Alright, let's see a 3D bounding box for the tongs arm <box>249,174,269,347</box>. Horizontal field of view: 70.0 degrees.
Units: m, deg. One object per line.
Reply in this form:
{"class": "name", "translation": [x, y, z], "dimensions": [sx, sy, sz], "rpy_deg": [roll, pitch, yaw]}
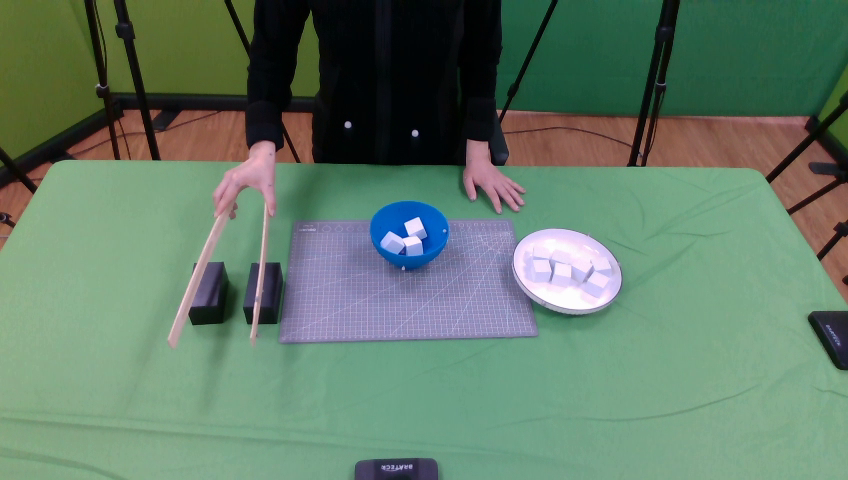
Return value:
{"class": "tongs arm", "translation": [-0.296, 0.018, 1.042], "dimensions": [0.051, 0.026, 0.382], "rpy_deg": [-4, 46, -2]}

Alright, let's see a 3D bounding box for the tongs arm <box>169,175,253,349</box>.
{"class": "tongs arm", "translation": [-0.361, 0.020, 1.039], "dimensions": [0.028, 0.028, 0.385], "rpy_deg": [0, 45, 6]}

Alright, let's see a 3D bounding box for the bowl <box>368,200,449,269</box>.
{"class": "bowl", "translation": [-0.031, 0.002, 1.151], "dimensions": [0.151, 0.077, 0.150], "rpy_deg": [2, 46, -2]}

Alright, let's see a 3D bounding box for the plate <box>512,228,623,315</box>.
{"class": "plate", "translation": [0.268, 0.063, 1.146], "dimensions": [0.208, 0.039, 0.206], "rpy_deg": [3, 46, -3]}
